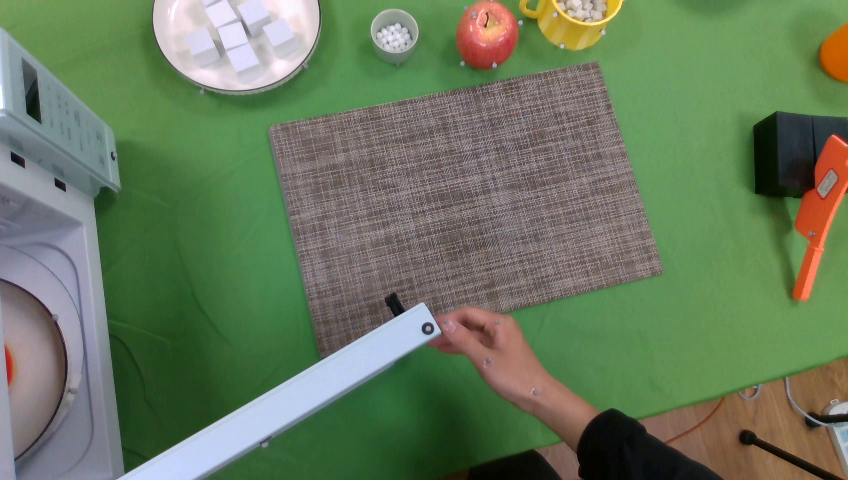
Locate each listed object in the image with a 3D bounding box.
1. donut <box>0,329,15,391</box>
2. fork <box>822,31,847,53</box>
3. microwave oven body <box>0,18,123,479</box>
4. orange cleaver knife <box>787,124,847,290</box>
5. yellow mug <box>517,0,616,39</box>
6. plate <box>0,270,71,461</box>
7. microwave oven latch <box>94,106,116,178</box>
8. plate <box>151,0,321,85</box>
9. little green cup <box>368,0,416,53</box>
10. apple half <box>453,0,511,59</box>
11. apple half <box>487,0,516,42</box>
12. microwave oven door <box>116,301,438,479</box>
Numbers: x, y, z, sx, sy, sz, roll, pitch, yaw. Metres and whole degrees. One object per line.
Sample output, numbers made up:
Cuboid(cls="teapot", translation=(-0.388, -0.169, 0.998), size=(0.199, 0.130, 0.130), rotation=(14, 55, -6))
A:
Cuboid(cls="donut", translation=(-0.464, 0.124, 0.604), size=(0.099, 0.048, 0.098), rotation=(1, 81, -6))
Cuboid(cls="fork", translation=(0.648, -0.291, 0.801), size=(0.206, 0.019, 0.028), rotation=(-13, 76, 37))
Cuboid(cls="microwave oven body", translation=(-0.484, 0.066, 0.571), size=(0.326, 0.260, 0.440), rotation=(-10, 82, -8))
Cuboid(cls="orange cleaver knife", translation=(0.498, -0.040, 0.775), size=(0.012, 0.076, 0.212), rotation=(6, 112, -2))
Cuboid(cls="yellow mug", translation=(0.187, -0.328, 0.805), size=(0.131, 0.064, 0.099), rotation=(-3, 80, -5))
Cuboid(cls="plate", translation=(-0.466, 0.130, 0.615), size=(0.209, 0.038, 0.208), rotation=(1, 81, -6))
Cuboid(cls="microwave oven latch", translation=(-0.382, -0.115, 0.709), size=(0.030, 0.029, 0.079), rotation=(-9, 82, -7))
Cuboid(cls="plate", translation=(-0.235, -0.292, 0.772), size=(0.208, 0.039, 0.207), rotation=(1, 80, -5))
Cuboid(cls="little green cup", translation=(-0.042, -0.276, 0.789), size=(0.061, 0.039, 0.061), rotation=(1, 80, -5))
Cuboid(cls="apple half", translation=(0.067, -0.268, 0.781), size=(0.053, 0.074, 0.081), rotation=(-40, 90, -6))
Cuboid(cls="apple half", translation=(0.096, -0.293, 0.786), size=(0.033, 0.081, 0.081), rotation=(-40, 86, -6))
Cuboid(cls="microwave oven door", translation=(-0.155, 0.163, 0.582), size=(0.356, 0.244, 0.039), rotation=(-30, 83, -10))
